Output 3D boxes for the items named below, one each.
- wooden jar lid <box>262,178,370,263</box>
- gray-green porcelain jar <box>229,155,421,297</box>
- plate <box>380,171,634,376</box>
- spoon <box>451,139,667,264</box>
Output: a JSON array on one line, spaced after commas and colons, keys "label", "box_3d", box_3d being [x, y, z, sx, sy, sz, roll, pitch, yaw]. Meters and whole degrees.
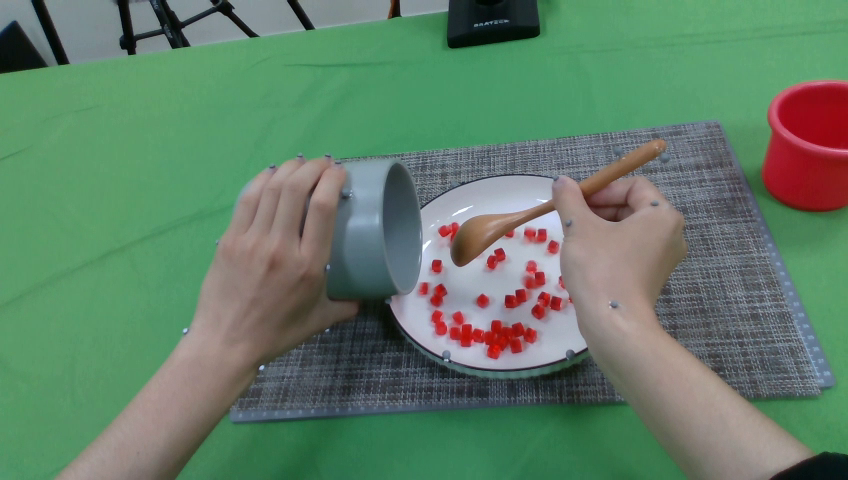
[{"label": "wooden jar lid", "box_3d": [-0.105, -0.019, 0.598, 0.108, 0.021, 0.107, -6, 47, 7]}, {"label": "gray-green porcelain jar", "box_3d": [-0.076, -0.009, 0.473, 0.126, 0.107, 0.105, -3, 49, 14]}, {"label": "plate", "box_3d": [0.066, 0.026, 0.507, 0.207, 0.039, 0.205, -6, 48, 7]}, {"label": "spoon", "box_3d": [0.090, -0.028, 0.450, 0.193, 0.022, 0.041, -26, 44, 35]}]
